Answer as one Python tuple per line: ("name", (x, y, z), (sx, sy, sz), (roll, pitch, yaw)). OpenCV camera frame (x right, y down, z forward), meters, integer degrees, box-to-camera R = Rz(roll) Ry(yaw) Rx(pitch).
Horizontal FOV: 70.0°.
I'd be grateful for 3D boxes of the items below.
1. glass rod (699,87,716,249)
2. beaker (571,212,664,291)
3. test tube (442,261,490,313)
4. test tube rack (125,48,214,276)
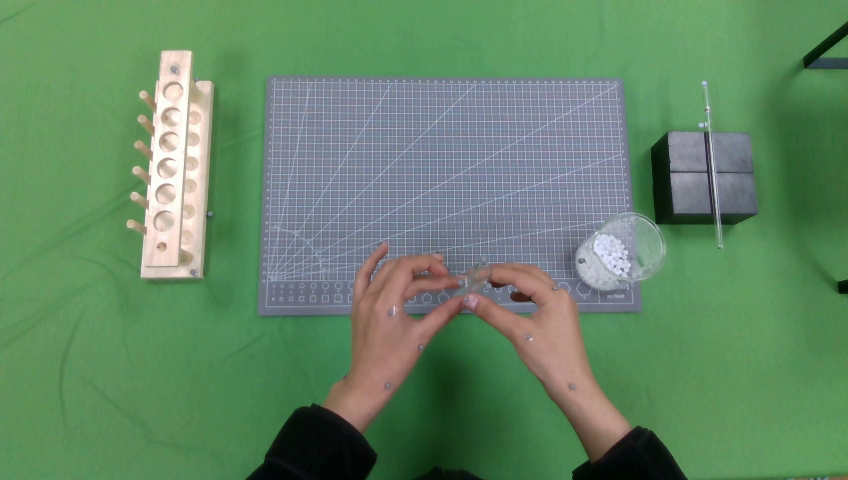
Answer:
("glass rod", (0.331, -0.087, 0.708), (0.008, 0.008, 0.199), (2, 78, -2))
("beaker", (0.209, 0.017, 0.680), (0.084, 0.100, 0.073), (2, 77, -1))
("test tube", (0.037, 0.048, 0.572), (0.017, 0.151, 0.017), (3, 72, -8))
("test tube rack", (-0.291, -0.085, 0.684), (0.067, 0.085, 0.241), (0, 78, -2))
